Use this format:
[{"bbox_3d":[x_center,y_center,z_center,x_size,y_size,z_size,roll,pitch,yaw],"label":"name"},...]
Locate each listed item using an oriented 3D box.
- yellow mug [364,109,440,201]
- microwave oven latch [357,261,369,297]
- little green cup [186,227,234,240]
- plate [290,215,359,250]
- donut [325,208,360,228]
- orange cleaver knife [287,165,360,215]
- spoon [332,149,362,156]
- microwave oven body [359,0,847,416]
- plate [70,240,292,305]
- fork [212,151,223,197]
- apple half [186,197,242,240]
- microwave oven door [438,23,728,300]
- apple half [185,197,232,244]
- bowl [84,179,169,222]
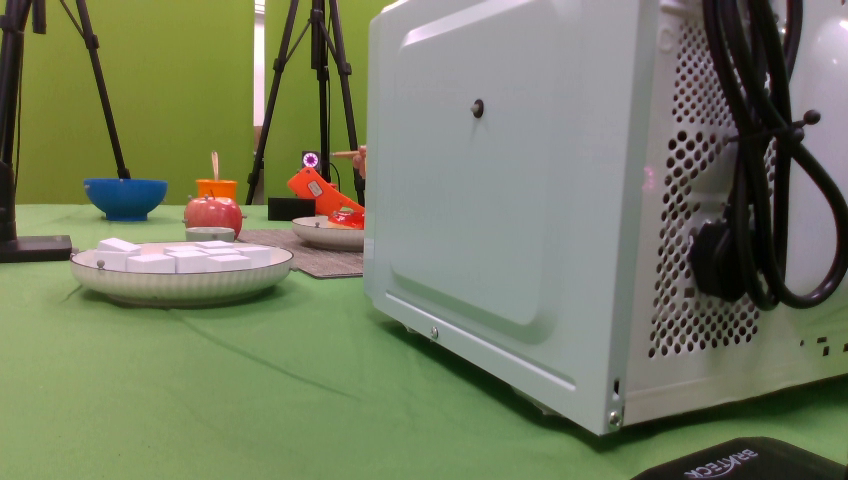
[{"bbox_3d":[-0.030,-0.130,0.902,0.100,0.131,0.063,-13,31,-38],"label":"yellow mug"},{"bbox_3d":[-0.019,0.033,0.531,0.079,0.029,0.030,-1,7,-27],"label":"microwave oven latch"},{"bbox_3d":[-0.284,0.005,0.805,0.061,0.038,0.061,3,8,0],"label":"little green cup"},{"bbox_3d":[-0.110,-0.013,0.973,0.209,0.038,0.209,2,8,0],"label":"plate"},{"bbox_3d":[-0.111,-0.025,0.974,0.099,0.048,0.099,5,8,0],"label":"donut"},{"bbox_3d":[-0.210,-0.093,1.382,0.212,0.077,0.012,33,1,-15],"label":"orange cleaver knife"},{"bbox_3d":[-0.089,-0.137,0.978,0.042,0.021,0.192,-23,27,-38],"label":"spoon"},{"bbox_3d":[0.211,-0.047,0.474,0.444,0.260,0.324,-1,7,-28],"label":"microwave oven body"},{"bbox_3d":[-0.242,0.031,0.618,0.208,0.039,0.207,2,8,0],"label":"plate"},{"bbox_3d":[-0.494,-0.143,1.442,0.028,0.018,0.206,-2,52,-20],"label":"fork"},{"bbox_3d":[-0.306,-0.026,0.904,0.053,0.074,0.081,14,9,37],"label":"apple half"},{"bbox_3d":[0.181,-0.072,0.621,0.358,0.243,0.039,-2,8,-29],"label":"microwave oven door"},{"bbox_3d":[-0.337,-0.031,0.928,0.032,0.081,0.082,13,12,37],"label":"apple half"},{"bbox_3d":[-0.584,-0.078,1.194,0.151,0.077,0.151,3,8,0],"label":"bowl"}]
